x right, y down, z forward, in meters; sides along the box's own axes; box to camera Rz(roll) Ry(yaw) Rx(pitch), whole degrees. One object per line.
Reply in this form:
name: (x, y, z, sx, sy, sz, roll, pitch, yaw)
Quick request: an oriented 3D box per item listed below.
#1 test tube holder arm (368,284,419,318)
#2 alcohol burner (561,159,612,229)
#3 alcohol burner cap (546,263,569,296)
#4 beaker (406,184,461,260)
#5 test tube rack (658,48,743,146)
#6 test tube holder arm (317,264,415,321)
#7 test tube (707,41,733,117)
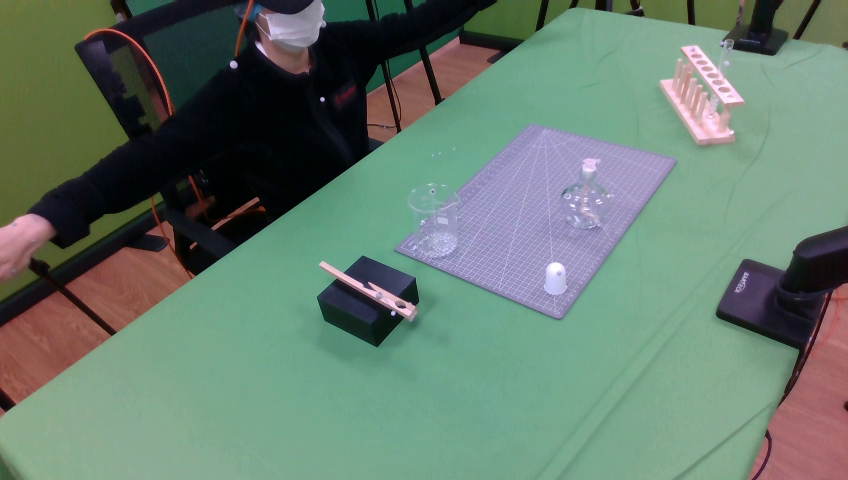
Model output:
test tube holder arm: (-0.044, 0.081, 0.813, 0.087, 0.015, 0.010, 23, 55, 31)
alcohol burner: (0.257, -0.077, 0.951, 0.078, 0.119, 0.077, -3, 40, 3)
alcohol burner cap: (0.191, 0.053, 0.862, 0.034, 0.048, 0.033, -5, 40, 4)
beaker: (0.019, -0.026, 0.939, 0.084, 0.101, 0.074, 1, 41, 10)
test tube rack: (0.532, -0.284, 1.180, 0.067, 0.085, 0.241, -5, 40, 4)
test tube holder arm: (-0.083, 0.070, 0.833, 0.177, 0.015, 0.013, 22, 55, 30)
test tube: (0.542, -0.293, 1.111, 0.017, 0.151, 0.017, -4, 43, 5)
